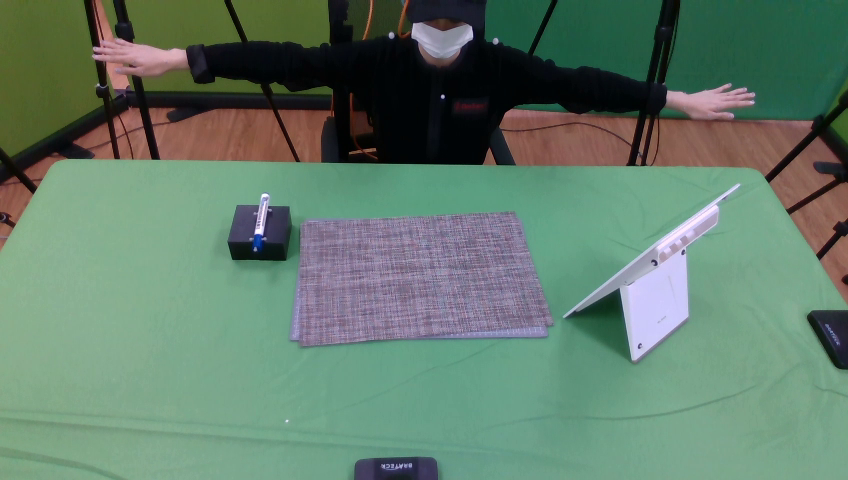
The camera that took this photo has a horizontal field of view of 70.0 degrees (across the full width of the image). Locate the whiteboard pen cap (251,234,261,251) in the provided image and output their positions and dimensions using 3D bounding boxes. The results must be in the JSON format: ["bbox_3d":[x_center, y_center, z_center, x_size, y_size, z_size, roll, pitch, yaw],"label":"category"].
[{"bbox_3d":[-0.305,0.003,1.103,0.018,0.018,0.033,-2,47,-6],"label":"whiteboard pen cap"}]

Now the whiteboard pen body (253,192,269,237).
[{"bbox_3d":[-0.309,-0.040,1.146,0.017,0.017,0.140,0,46,-5],"label":"whiteboard pen body"}]

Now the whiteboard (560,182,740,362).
[{"bbox_3d":[0.406,0.075,1.001,0.217,0.306,0.143,-28,73,-28],"label":"whiteboard"}]
